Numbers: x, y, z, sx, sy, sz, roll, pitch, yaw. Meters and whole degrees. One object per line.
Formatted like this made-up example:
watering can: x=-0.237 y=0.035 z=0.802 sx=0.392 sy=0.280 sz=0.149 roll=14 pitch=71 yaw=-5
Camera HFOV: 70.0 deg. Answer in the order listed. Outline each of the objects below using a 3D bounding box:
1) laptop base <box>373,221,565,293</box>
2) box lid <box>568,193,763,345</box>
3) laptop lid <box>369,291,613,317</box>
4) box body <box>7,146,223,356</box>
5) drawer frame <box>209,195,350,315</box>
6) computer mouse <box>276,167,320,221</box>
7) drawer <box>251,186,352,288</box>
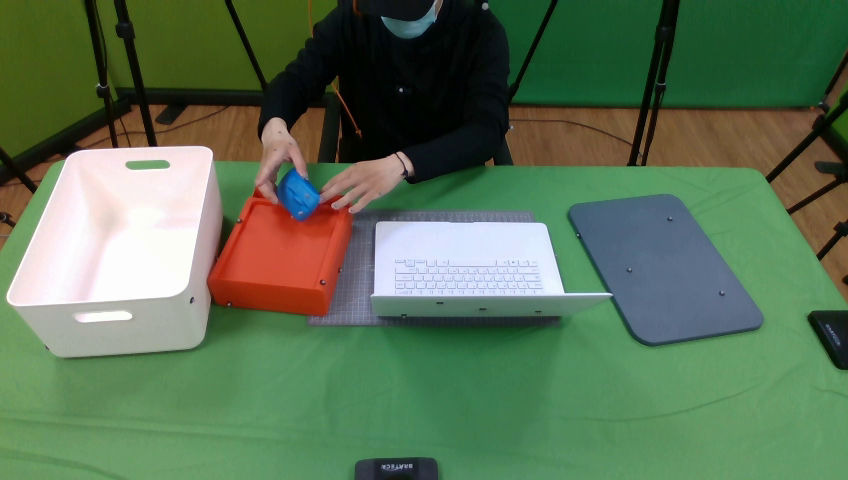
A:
laptop base: x=0.080 y=0.049 z=1.159 sx=0.355 sy=0.023 sz=0.234 roll=0 pitch=43 yaw=-4
box lid: x=0.464 y=0.040 z=1.203 sx=0.264 sy=0.015 sz=0.369 roll=-7 pitch=47 yaw=-11
laptop lid: x=0.092 y=0.104 z=0.965 sx=0.357 sy=0.242 sz=0.013 roll=0 pitch=76 yaw=-5
box body: x=-0.499 y=0.012 z=1.051 sx=0.254 sy=0.161 sz=0.361 roll=-3 pitch=47 yaw=-7
drawer frame: x=-0.255 y=0.023 z=1.112 sx=0.202 sy=0.083 sz=0.212 roll=6 pitch=47 yaw=2
computer mouse: x=-0.237 y=-0.088 z=1.125 sx=0.063 sy=0.041 sz=0.116 roll=-48 pitch=48 yaw=10
drawer: x=-0.251 y=-0.002 z=1.138 sx=0.194 sy=0.073 sz=0.210 roll=6 pitch=47 yaw=3
